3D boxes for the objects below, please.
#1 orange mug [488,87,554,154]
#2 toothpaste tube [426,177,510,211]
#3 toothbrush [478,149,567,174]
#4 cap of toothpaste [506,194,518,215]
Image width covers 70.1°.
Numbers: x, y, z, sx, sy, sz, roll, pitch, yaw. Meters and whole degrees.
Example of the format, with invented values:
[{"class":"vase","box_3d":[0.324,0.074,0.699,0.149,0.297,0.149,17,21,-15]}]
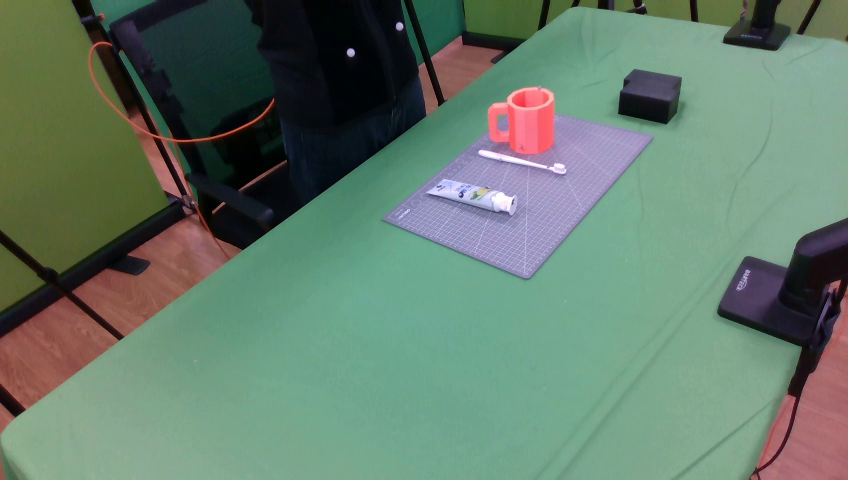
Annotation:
[{"class":"orange mug","box_3d":[0.185,-0.227,1.151,0.126,0.101,0.083,1,41,5]},{"class":"toothpaste tube","box_3d":[0.083,-0.081,1.054,0.164,0.034,0.055,18,40,34]},{"class":"toothbrush","box_3d":[0.179,-0.149,1.123,0.180,0.017,0.014,18,62,30]},{"class":"cap of toothpaste","box_3d":[0.146,-0.060,1.008,0.011,0.037,0.037,14,46,22]}]
